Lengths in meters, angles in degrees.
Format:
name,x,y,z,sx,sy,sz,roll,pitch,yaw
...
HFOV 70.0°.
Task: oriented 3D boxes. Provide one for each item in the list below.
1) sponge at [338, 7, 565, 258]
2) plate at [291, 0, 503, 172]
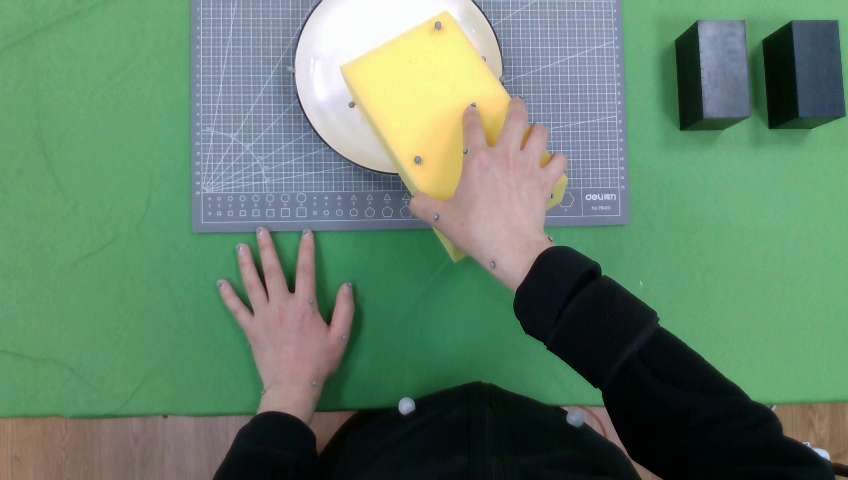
name,x,y,z,sx,sy,sz,roll,pitch,yaw
sponge,0.023,-0.102,0.567,0.118,0.061,0.205,-31,74,-5
plate,-0.026,-0.169,0.613,0.209,0.038,0.208,0,87,-4
